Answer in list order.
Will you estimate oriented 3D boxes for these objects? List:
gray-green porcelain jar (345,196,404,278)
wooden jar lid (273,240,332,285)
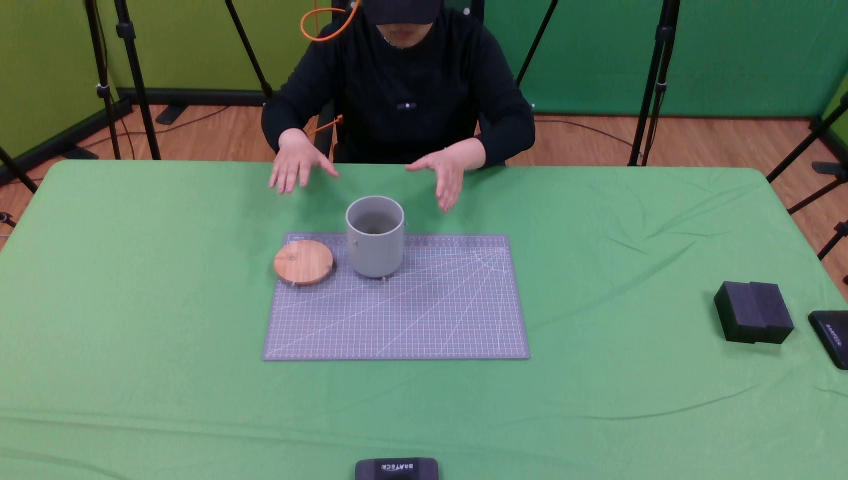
[{"bbox_3d":[-0.091,-0.001,1.117,0.106,0.127,0.105,2,46,-2],"label":"gray-green porcelain jar"},{"bbox_3d":[-0.227,0.044,1.137,0.108,0.021,0.107,3,47,-3],"label":"wooden jar lid"}]
